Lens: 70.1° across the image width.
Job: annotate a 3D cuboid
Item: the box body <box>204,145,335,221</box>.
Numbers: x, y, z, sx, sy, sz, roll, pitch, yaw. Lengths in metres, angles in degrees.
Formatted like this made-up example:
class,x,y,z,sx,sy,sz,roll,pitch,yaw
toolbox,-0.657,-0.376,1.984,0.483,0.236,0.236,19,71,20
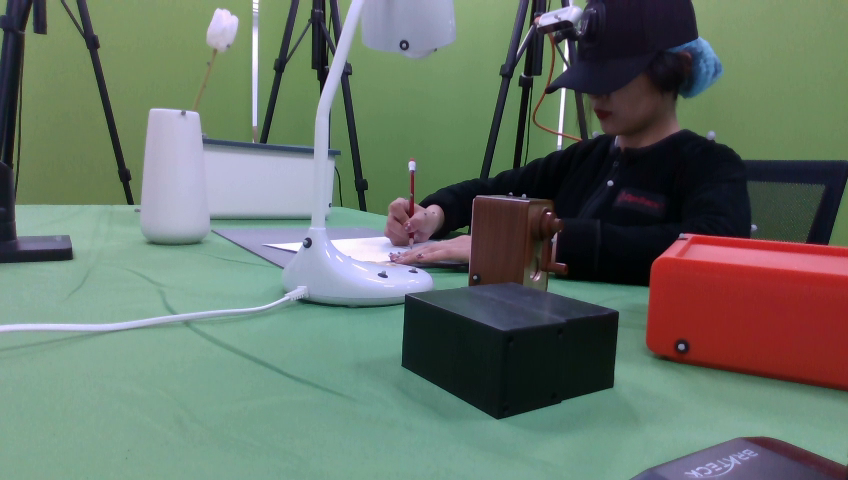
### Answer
class,x,y,z,sx,sy,sz,roll,pitch,yaw
box body,-0.411,-0.135,1.386,0.366,0.160,0.253,-2,9,-29

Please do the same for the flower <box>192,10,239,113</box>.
class,x,y,z,sx,sy,sz,roll,pitch,yaw
flower,-0.354,-0.174,0.915,0.038,0.361,0.044,18,-4,12

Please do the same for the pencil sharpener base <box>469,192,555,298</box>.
class,x,y,z,sx,sy,sz,roll,pitch,yaw
pencil sharpener base,0.097,0.003,0.652,0.076,0.107,0.061,8,9,37

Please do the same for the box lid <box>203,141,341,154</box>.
class,x,y,z,sx,sy,sz,roll,pitch,yaw
box lid,-0.396,-0.212,1.373,0.373,0.015,0.262,-1,9,-29

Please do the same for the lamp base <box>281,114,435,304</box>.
class,x,y,z,sx,sy,sz,roll,pitch,yaw
lamp base,-0.071,-0.034,0.614,0.160,0.180,0.180,6,10,27

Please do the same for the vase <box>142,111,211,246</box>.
class,x,y,z,sx,sy,sz,roll,pitch,yaw
vase,-0.378,-0.093,0.920,0.098,0.200,0.098,2,9,0

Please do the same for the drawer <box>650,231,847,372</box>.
class,x,y,z,sx,sy,sz,roll,pitch,yaw
drawer,0.303,0.044,0.499,0.194,0.073,0.212,7,9,27

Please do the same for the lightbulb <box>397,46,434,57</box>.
class,x,y,z,sx,sy,sz,roll,pitch,yaw
lightbulb,-0.017,-0.264,0.692,0.059,0.108,0.059,-9,29,5

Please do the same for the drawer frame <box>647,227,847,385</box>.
class,x,y,z,sx,sy,sz,roll,pitch,yaw
drawer frame,0.303,0.043,0.495,0.201,0.082,0.214,6,9,26

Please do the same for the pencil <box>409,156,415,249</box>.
class,x,y,z,sx,sy,sz,roll,pitch,yaw
pencil,-0.020,-0.065,0.997,0.012,0.193,0.012,0,-36,0

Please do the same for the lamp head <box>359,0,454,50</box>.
class,x,y,z,sx,sy,sz,roll,pitch,yaw
lamp head,-0.024,-0.282,0.674,0.112,0.123,0.112,-3,38,3

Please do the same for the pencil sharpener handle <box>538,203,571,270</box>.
class,x,y,z,sx,sy,sz,roll,pitch,yaw
pencil sharpener handle,0.137,-0.003,0.619,0.030,0.067,0.036,8,6,37
